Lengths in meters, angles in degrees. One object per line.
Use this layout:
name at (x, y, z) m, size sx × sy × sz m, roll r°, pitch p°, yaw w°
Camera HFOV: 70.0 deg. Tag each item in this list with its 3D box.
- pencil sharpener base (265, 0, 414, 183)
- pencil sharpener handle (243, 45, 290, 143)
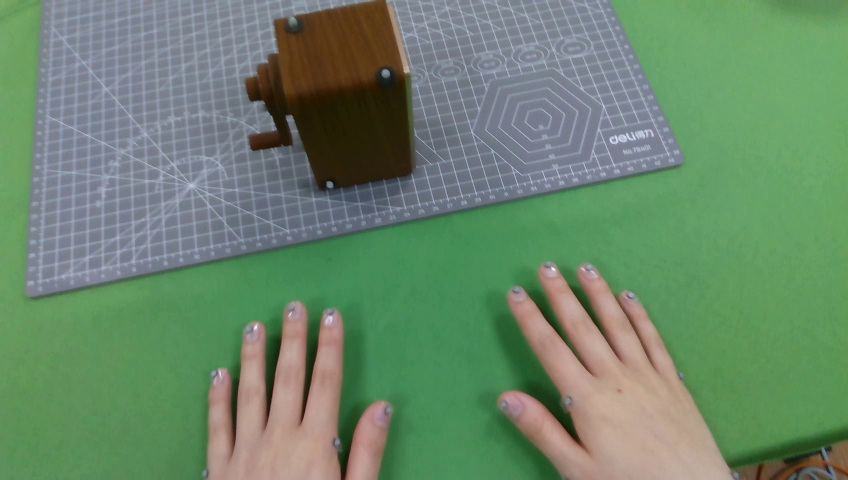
pencil sharpener base at (-0.050, -0.091, 0.382) m, size 0.077 × 0.108 × 0.061 m, roll -12°, pitch 66°, yaw -4°
pencil sharpener handle at (-0.100, -0.084, 0.366) m, size 0.031 × 0.068 × 0.035 m, roll -12°, pitch 60°, yaw -4°
